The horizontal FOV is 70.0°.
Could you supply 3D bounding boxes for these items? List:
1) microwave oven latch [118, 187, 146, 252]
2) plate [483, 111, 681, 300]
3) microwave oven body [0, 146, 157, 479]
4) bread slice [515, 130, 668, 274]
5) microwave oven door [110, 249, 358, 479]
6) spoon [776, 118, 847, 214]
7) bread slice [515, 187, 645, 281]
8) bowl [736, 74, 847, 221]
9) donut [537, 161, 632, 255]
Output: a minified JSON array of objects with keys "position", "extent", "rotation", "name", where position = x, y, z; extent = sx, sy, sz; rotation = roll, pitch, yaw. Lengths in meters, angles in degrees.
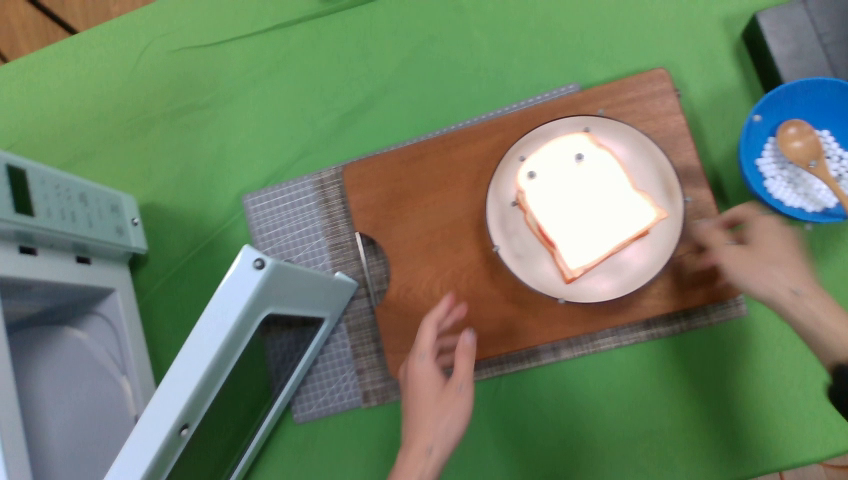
[{"position":[-0.383,-0.026,0.778],"extent":[0.030,0.029,0.079],"rotation":[-18,80,7],"name":"microwave oven latch"},{"position":[0.169,-0.036,0.665],"extent":[0.207,0.039,0.207],"rotation":[-1,82,11],"name":"plate"},{"position":[-0.489,0.173,0.671],"extent":[0.326,0.261,0.439],"rotation":[-19,80,7],"name":"microwave oven body"},{"position":[0.156,-0.044,0.608],"extent":[0.107,0.018,0.133],"rotation":[-37,71,5],"name":"bread slice"},{"position":[-0.204,0.177,0.613],"extent":[0.039,0.245,0.355],"rotation":[30,88,14],"name":"microwave oven door"},{"position":[0.409,-0.046,0.600],"extent":[0.041,0.022,0.191],"rotation":[-18,57,7],"name":"spoon"},{"position":[0.163,-0.034,0.670],"extent":[0.105,0.019,0.131],"rotation":[-34,81,2],"name":"bread slice"},{"position":[0.401,-0.088,0.638],"extent":[0.151,0.077,0.151],"rotation":[-1,82,11],"name":"bowl"},{"position":[0.167,-0.033,0.635],"extent":[0.099,0.048,0.099],"rotation":[0,85,5],"name":"donut"}]
